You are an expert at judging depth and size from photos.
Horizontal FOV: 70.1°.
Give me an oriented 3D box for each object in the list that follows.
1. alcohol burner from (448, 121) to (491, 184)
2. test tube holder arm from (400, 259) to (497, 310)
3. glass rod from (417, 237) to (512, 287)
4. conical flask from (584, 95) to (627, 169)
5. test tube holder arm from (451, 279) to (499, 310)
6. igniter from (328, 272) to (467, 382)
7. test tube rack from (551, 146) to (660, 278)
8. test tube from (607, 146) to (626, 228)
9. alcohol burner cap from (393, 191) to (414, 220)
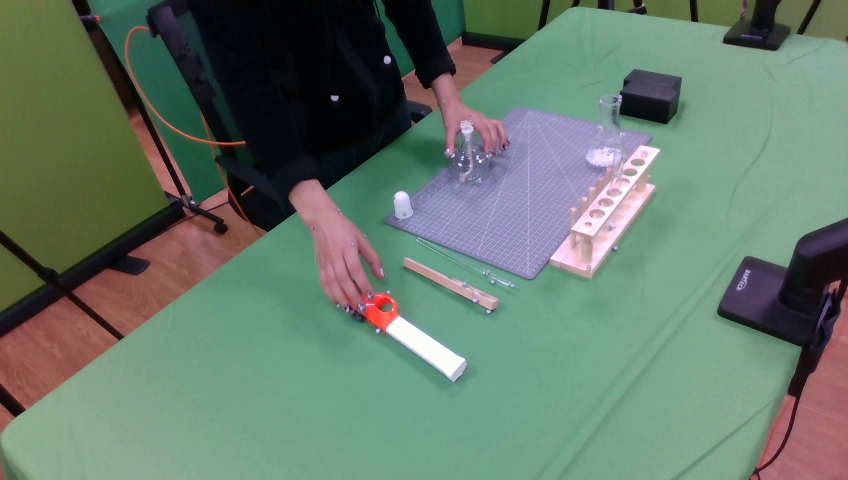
[{"bbox_3d":[0.081,-0.160,1.083,0.078,0.119,0.077,-4,39,4],"label":"alcohol burner"},{"bbox_3d":[0.033,0.064,0.902,0.177,0.015,0.013,23,14,32],"label":"test tube holder arm"},{"bbox_3d":[0.059,0.032,0.945,0.198,0.008,0.008,26,52,38],"label":"glass rod"},{"bbox_3d":[0.323,-0.192,1.066,0.075,0.122,0.075,-6,40,5],"label":"conical flask"},{"bbox_3d":[0.071,0.079,0.882,0.087,0.015,0.010,23,14,34],"label":"test tube holder arm"},{"bbox_3d":[-0.049,0.114,0.854,0.274,0.025,0.057,30,63,37],"label":"igniter"},{"bbox_3d":[0.286,-0.053,0.943,0.066,0.085,0.243,21,49,32],"label":"test tube rack"},{"bbox_3d":[0.283,-0.074,0.892,0.017,0.151,0.017,-5,44,6],"label":"test tube"},{"bbox_3d":[-0.037,-0.062,1.045,0.034,0.048,0.033,-5,41,5],"label":"alcohol burner cap"}]
